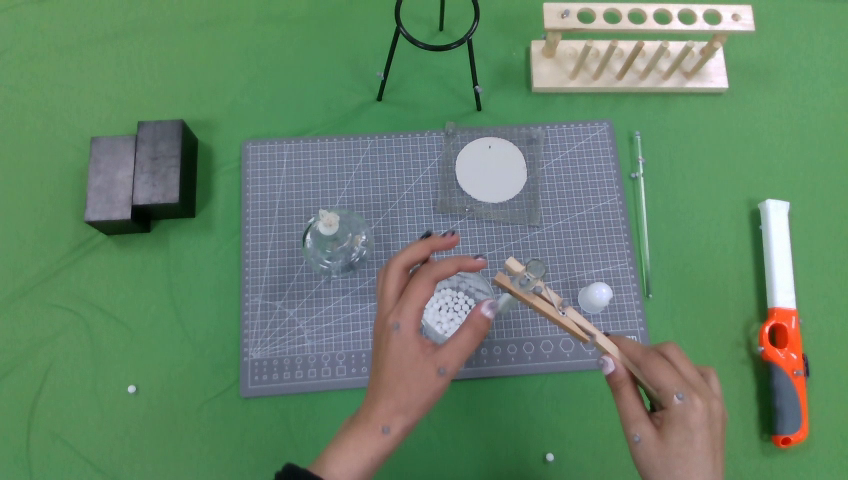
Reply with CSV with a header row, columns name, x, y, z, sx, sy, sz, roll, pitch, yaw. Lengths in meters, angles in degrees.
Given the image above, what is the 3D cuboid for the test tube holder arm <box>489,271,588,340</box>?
name,x,y,z,sx,sy,sz,roll,pitch,yaw
test tube holder arm,0.091,0.052,0.476,0.087,0.015,0.010,31,81,9

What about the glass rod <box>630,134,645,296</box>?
name,x,y,z,sx,sy,sz,roll,pitch,yaw
glass rod,0.252,-0.032,0.715,0.008,0.008,0.198,1,77,-1

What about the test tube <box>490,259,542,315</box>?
name,x,y,z,sx,sy,sz,roll,pitch,yaw
test tube,0.073,0.042,0.501,0.017,0.151,0.017,1,73,-3

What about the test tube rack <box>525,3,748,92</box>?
name,x,y,z,sx,sy,sz,roll,pitch,yaw
test tube rack,0.250,-0.230,0.730,0.242,0.085,0.066,0,74,-1

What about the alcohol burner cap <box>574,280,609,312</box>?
name,x,y,z,sx,sy,sz,roll,pitch,yaw
alcohol burner cap,0.187,0.059,0.668,0.034,0.048,0.033,0,74,-1

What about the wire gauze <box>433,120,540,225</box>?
name,x,y,z,sx,sy,sz,roll,pitch,yaw
wire gauze,0.076,-0.083,0.722,0.125,0.011,0.121,7,76,0

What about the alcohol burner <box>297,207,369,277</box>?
name,x,y,z,sx,sy,sz,roll,pitch,yaw
alcohol burner,-0.099,-0.003,0.640,0.078,0.120,0.077,0,73,1

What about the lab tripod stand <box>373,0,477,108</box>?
name,x,y,z,sx,sy,sz,roll,pitch,yaw
lab tripod stand,0.005,-0.220,0.695,0.148,0.132,0.147,0,76,-1

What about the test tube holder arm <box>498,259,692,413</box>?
name,x,y,z,sx,sy,sz,roll,pitch,yaw
test tube holder arm,0.130,0.073,0.470,0.178,0.015,0.013,37,83,9

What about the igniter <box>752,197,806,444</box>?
name,x,y,z,sx,sy,sz,roll,pitch,yaw
igniter,0.394,0.085,0.677,0.057,0.025,0.275,7,74,-10

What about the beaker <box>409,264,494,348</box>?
name,x,y,z,sx,sy,sz,roll,pitch,yaw
beaker,0.026,0.074,0.630,0.084,0.101,0.073,-12,74,-4
